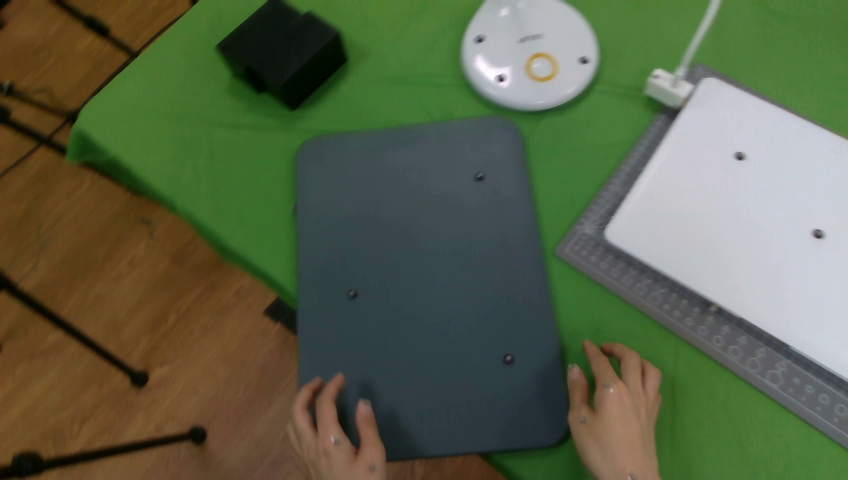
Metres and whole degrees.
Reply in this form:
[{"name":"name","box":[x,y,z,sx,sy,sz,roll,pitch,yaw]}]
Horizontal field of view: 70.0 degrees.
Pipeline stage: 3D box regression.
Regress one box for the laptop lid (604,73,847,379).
[{"name":"laptop lid","box":[0.389,-0.007,0.601,0.354,0.013,0.241,34,77,16]}]

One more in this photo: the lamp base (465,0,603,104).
[{"name":"lamp base","box":[0.118,-0.268,0.648,0.161,0.181,0.177,-23,66,-5]}]

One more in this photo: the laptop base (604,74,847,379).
[{"name":"laptop base","box":[0.392,-0.005,0.612,0.352,0.023,0.235,33,78,15]}]

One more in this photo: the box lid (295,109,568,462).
[{"name":"box lid","box":[-0.005,0.028,0.634,0.263,0.015,0.368,-6,69,2]}]

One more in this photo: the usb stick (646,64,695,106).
[{"name":"usb stick","box":[0.279,-0.168,0.670,0.059,0.027,0.021,36,70,13]}]
